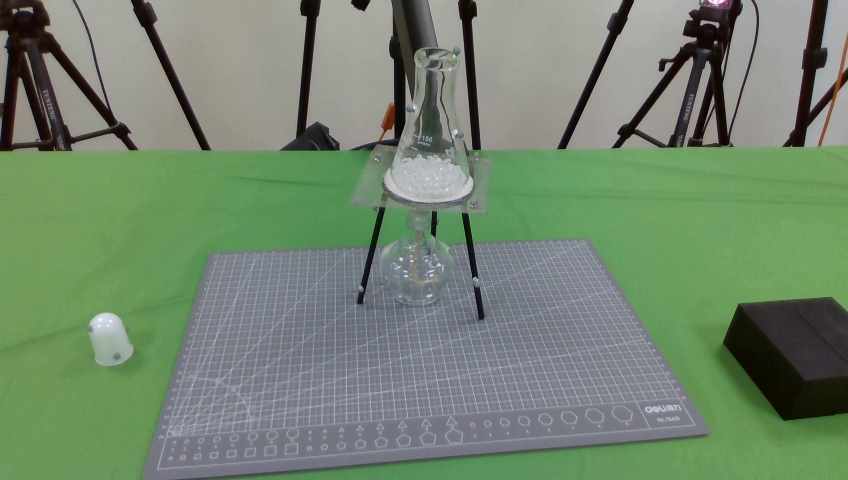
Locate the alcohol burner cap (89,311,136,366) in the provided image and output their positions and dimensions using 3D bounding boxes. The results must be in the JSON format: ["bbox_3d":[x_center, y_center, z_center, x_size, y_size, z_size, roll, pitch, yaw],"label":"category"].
[{"bbox_3d":[-0.282,0.085,0.543,0.034,0.048,0.033,2,34,-1],"label":"alcohol burner cap"}]

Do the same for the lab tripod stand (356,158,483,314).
[{"bbox_3d":[0.004,-0.004,0.610,0.148,0.132,0.147,4,33,-2],"label":"lab tripod stand"}]

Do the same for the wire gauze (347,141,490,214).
[{"bbox_3d":[0.000,-0.059,0.574,0.121,0.011,0.124,6,36,5],"label":"wire gauze"}]

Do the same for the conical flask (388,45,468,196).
[{"bbox_3d":[0.006,-0.106,0.537,0.075,0.123,0.074,3,34,-1],"label":"conical flask"}]

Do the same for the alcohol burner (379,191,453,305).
[{"bbox_3d":[-0.008,0.005,0.614,0.078,0.120,0.077,1,32,0],"label":"alcohol burner"}]
